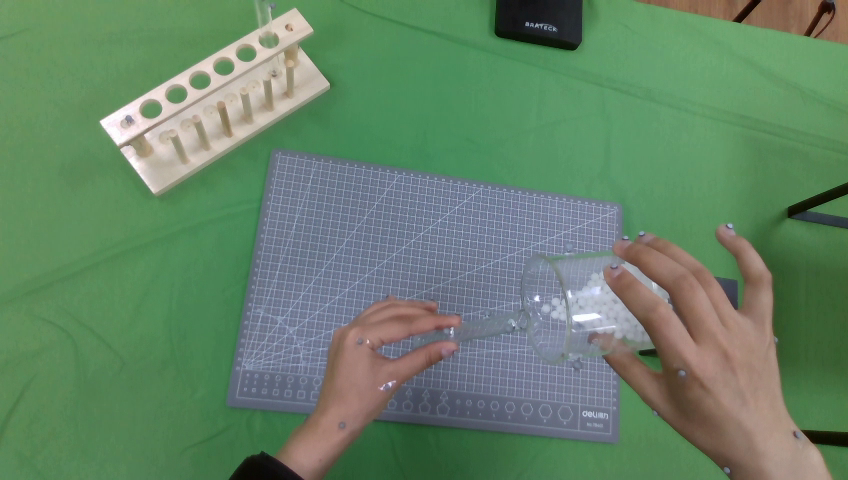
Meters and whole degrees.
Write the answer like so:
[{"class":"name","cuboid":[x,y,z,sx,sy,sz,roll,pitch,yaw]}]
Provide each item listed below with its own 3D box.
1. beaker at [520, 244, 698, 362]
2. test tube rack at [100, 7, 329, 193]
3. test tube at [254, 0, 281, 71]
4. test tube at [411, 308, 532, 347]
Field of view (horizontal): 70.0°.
[{"class":"beaker","cuboid":[0.126,0.041,0.418,0.100,0.084,0.073,-5,74,-14]},{"class":"test tube rack","cuboid":[-0.223,-0.158,0.684,0.242,0.085,0.066,-37,85,-17]},{"class":"test tube","cuboid":[-0.170,-0.229,0.659,0.017,0.151,0.017,2,73,-7]},{"class":"test tube","cuboid":[0.033,0.074,0.501,0.017,0.150,0.017,10,70,-32]}]
